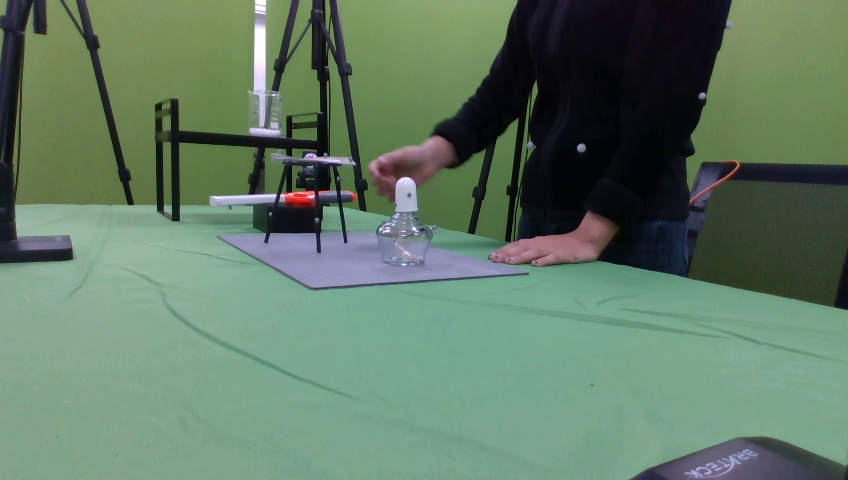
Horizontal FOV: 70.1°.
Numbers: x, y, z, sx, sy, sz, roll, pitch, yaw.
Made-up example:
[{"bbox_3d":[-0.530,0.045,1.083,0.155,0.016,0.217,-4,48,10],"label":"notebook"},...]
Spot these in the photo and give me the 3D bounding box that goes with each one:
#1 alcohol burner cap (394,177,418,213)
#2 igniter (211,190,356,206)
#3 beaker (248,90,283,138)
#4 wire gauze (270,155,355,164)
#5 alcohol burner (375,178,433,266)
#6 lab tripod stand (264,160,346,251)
[{"bbox_3d":[-0.025,-0.060,0.809,0.034,0.048,0.034,-4,10,1],"label":"alcohol burner cap"},{"bbox_3d":[-0.260,-0.080,1.151,0.278,0.025,0.057,-5,13,-34],"label":"igniter"},{"bbox_3d":[-0.354,-0.278,1.340,0.074,0.100,0.084,6,9,26],"label":"beaker"},{"bbox_3d":[-0.174,-0.123,0.925,0.125,0.011,0.121,0,8,-12],"label":"wire gauze"},{"bbox_3d":[-0.026,-0.025,0.815,0.078,0.119,0.078,4,7,0],"label":"alcohol burner"},{"bbox_3d":[-0.177,-0.056,0.930,0.148,0.131,0.148,1,9,0],"label":"lab tripod stand"}]
